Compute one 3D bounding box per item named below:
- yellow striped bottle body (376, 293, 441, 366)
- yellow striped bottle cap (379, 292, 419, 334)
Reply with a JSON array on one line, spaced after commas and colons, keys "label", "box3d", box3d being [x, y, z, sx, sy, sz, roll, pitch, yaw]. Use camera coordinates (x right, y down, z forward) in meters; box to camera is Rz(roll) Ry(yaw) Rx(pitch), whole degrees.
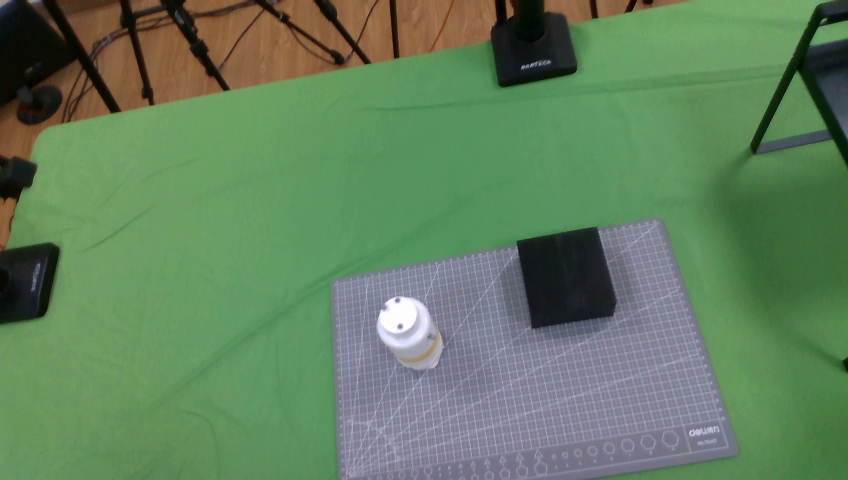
[{"label": "yellow striped bottle body", "box3d": [-0.019, 0.104, 0.720, 0.063, 0.121, 0.062, -4, 64, 9]}, {"label": "yellow striped bottle cap", "box3d": [-0.028, 0.081, 0.674, 0.044, 0.019, 0.044, -5, 64, 11]}]
